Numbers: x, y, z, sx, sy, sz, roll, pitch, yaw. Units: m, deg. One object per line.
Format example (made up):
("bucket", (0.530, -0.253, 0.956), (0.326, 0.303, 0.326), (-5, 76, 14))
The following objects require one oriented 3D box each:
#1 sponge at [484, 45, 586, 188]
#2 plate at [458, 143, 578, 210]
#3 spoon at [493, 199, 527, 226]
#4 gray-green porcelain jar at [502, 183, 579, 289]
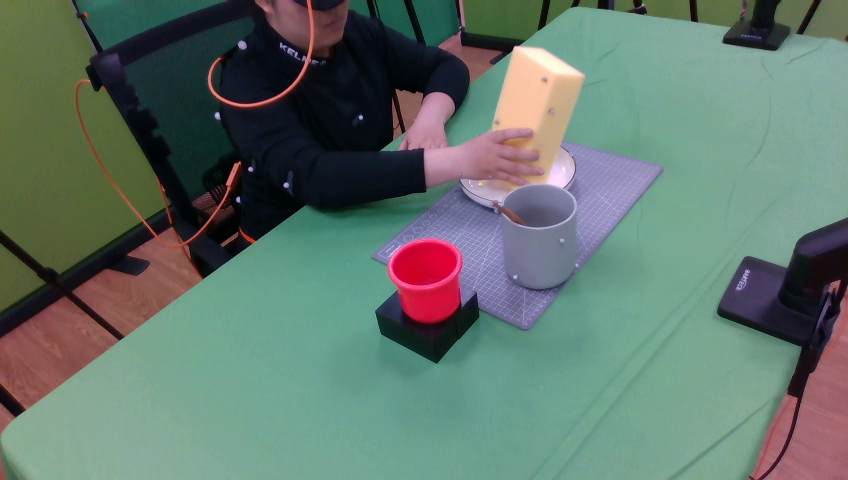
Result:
("sponge", (0.178, -0.200, 1.001), (0.061, 0.207, 0.117), (-7, 38, -29))
("plate", (0.166, -0.113, 1.069), (0.207, 0.039, 0.206), (-5, 40, 5))
("spoon", (0.135, -0.016, 0.831), (0.021, 0.195, 0.041), (-49, 53, -1))
("gray-green porcelain jar", (0.167, -0.001, 0.866), (0.106, 0.127, 0.105), (-5, 40, 5))
